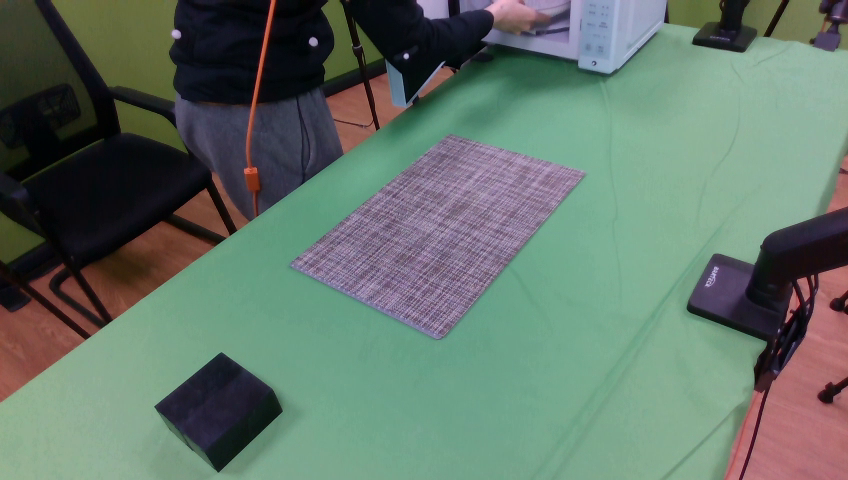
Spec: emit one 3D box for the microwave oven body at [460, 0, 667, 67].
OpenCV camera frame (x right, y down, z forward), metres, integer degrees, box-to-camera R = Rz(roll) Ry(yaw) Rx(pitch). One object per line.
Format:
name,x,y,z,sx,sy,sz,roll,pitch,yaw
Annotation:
microwave oven body,0.324,-0.609,1.437,0.438,0.261,0.327,23,50,31

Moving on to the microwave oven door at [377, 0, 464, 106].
microwave oven door,0.003,-0.493,1.344,0.039,0.245,0.356,11,44,21

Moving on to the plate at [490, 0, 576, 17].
plate,0.261,-0.573,1.436,0.209,0.038,0.208,-4,40,4

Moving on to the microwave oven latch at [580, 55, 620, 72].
microwave oven latch,0.386,-0.393,1.330,0.078,0.029,0.030,25,51,32
